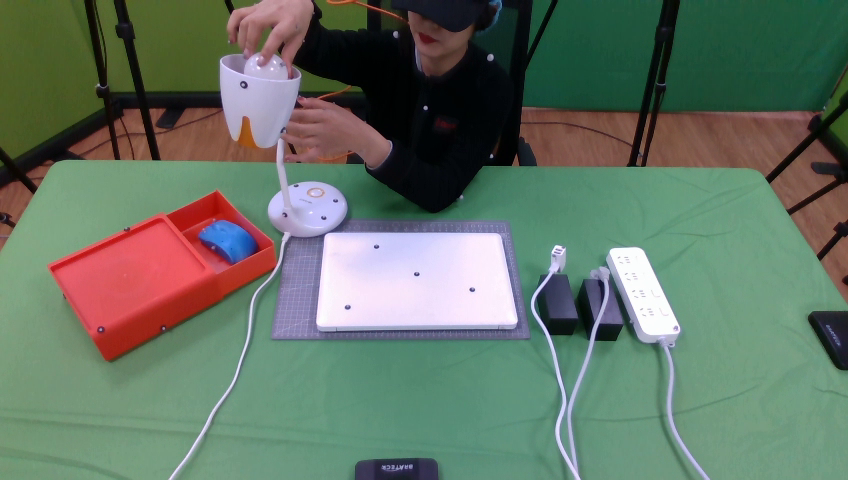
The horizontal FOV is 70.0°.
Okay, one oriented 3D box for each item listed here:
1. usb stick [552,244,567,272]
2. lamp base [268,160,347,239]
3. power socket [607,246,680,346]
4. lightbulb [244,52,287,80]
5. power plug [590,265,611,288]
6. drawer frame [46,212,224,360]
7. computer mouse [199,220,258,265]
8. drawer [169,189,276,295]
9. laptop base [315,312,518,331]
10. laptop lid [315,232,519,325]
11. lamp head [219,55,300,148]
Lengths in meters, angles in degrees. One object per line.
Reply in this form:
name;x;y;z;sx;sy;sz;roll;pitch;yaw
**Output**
usb stick;0.251;0.039;1.123;0.021;0.059;0.027;14;47;24
lamp base;-0.239;-0.110;1.174;0.160;0.181;0.178;12;49;10
power socket;0.403;0.096;1.123;0.072;0.033;0.225;-3;46;-5
lightbulb;-0.232;-0.217;0.875;0.059;0.108;0.059;14;32;-8
power plug;0.318;0.073;1.108;0.035;0.053;0.072;26;33;12
drawer frame;-0.495;0.071;1.050;0.213;0.083;0.200;-32;56;-29
computer mouse;-0.374;-0.001;1.153;0.116;0.041;0.063;30;52;28
drawer;-0.413;0.022;1.108;0.212;0.073;0.193;-33;57;-30
laptop base;-0.016;0.075;1.125;0.355;0.023;0.234;0;42;-4
laptop lid;-0.015;0.065;1.118;0.357;0.013;0.240;1;43;-3
lamp head;-0.244;-0.200;0.888;0.112;0.123;0.112;11;34;-7
